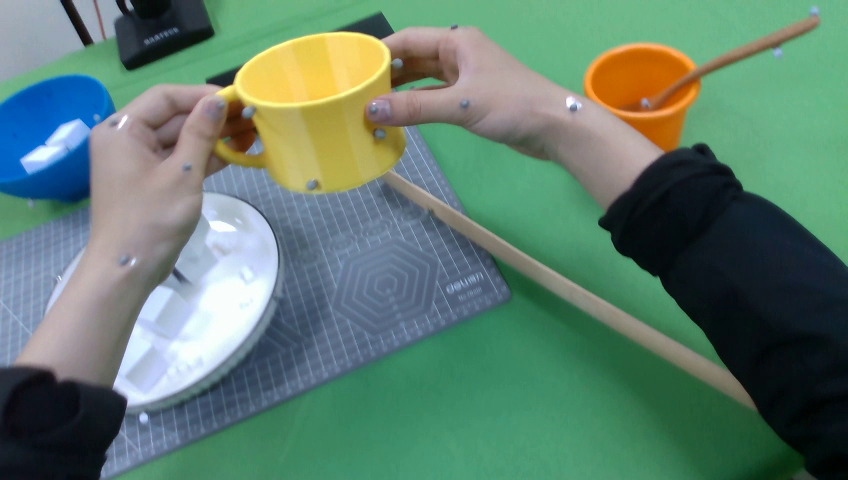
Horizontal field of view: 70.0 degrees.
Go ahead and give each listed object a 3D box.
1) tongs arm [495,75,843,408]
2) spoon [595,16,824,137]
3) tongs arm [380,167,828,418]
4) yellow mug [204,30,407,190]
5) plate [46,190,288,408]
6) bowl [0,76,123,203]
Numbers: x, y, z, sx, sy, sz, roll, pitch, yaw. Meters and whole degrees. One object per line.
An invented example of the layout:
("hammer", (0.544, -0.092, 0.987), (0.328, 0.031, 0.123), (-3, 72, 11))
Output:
("tongs arm", (0.165, -0.026, 0.494), (0.051, 0.027, 0.380), (-34, 56, -14))
("spoon", (0.214, -0.126, 0.484), (0.022, 0.193, 0.041), (37, 60, -16))
("tongs arm", (0.104, 0.023, 0.474), (0.384, 0.028, 0.028), (32, 63, 29))
("yellow mug", (-0.081, -0.085, 0.405), (0.131, 0.064, 0.099), (-15, 42, -4))
("plate", (-0.213, 0.047, 0.520), (0.207, 0.039, 0.205), (-6, 54, 8))
("bowl", (-0.376, -0.092, 0.634), (0.151, 0.077, 0.150), (-6, 54, 9))
